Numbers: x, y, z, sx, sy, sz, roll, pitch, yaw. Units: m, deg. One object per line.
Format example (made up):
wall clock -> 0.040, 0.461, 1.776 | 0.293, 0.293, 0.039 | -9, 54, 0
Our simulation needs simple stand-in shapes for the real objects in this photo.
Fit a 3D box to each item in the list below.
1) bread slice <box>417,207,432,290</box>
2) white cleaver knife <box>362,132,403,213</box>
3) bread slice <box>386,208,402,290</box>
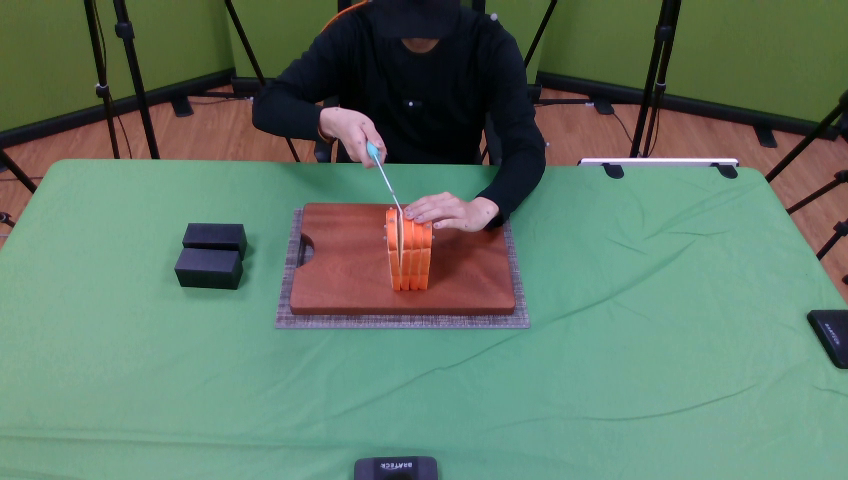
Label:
bread slice -> 0.000, 0.009, 1.071 | 0.018, 0.135, 0.106 | 2, 49, -4
white cleaver knife -> -0.074, -0.120, 1.039 | 0.021, 0.066, 0.284 | -24, 30, 0
bread slice -> -0.053, 0.009, 1.069 | 0.019, 0.132, 0.104 | -5, 46, -1
